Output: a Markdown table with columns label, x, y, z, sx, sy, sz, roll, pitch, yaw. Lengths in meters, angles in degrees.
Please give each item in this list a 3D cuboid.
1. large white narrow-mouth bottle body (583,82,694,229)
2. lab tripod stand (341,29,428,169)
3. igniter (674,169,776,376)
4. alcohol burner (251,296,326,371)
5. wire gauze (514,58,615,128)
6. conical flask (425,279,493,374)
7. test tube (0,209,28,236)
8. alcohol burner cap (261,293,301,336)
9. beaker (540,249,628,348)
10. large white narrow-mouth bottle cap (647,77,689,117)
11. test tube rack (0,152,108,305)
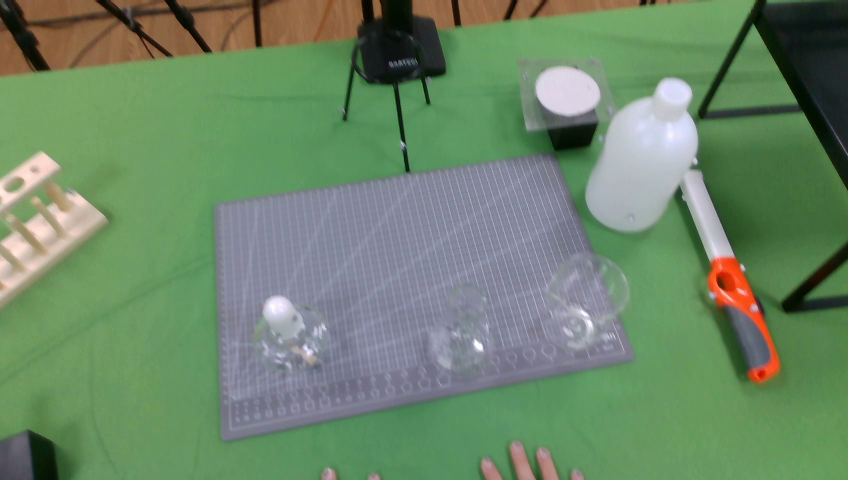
| label | x | y | z | sx | sy | sz | roll | pitch | yaw |
| --- | --- | --- | --- | --- | --- | --- | --- | --- | --- |
| large white narrow-mouth bottle body | 0.251 | -0.102 | 0.699 | 0.102 | 0.196 | 0.101 | 0 | 58 | 0 |
| lab tripod stand | -0.043 | -0.187 | 0.781 | 0.148 | 0.132 | 0.147 | 1 | 60 | -2 |
| igniter | 0.352 | 0.028 | 0.721 | 0.057 | 0.025 | 0.274 | 0 | 58 | -12 |
| alcohol burner | -0.141 | 0.089 | 0.623 | 0.078 | 0.120 | 0.077 | 1 | 57 | -2 |
| wire gauze | 0.186 | -0.201 | 0.809 | 0.121 | 0.011 | 0.124 | -3 | 59 | -2 |
| conical flask | 0.038 | 0.085 | 0.624 | 0.075 | 0.123 | 0.074 | 0 | 59 | 0 |
| test tube | -0.477 | -0.045 | 0.659 | 0.017 | 0.151 | 0.017 | 1 | 61 | -1 |
| alcohol burner cap | -0.142 | 0.071 | 0.592 | 0.034 | 0.048 | 0.033 | -2 | 59 | 4 |
| beaker | 0.163 | 0.067 | 0.649 | 0.084 | 0.101 | 0.073 | -5 | 59 | -2 |
| large white narrow-mouth bottle cap | 0.251 | -0.148 | 0.626 | 0.038 | 0.024 | 0.037 | 0 | 59 | 0 |
| test tube rack | -0.493 | 0.017 | 0.680 | 0.066 | 0.086 | 0.242 | 35 | 64 | 18 |
